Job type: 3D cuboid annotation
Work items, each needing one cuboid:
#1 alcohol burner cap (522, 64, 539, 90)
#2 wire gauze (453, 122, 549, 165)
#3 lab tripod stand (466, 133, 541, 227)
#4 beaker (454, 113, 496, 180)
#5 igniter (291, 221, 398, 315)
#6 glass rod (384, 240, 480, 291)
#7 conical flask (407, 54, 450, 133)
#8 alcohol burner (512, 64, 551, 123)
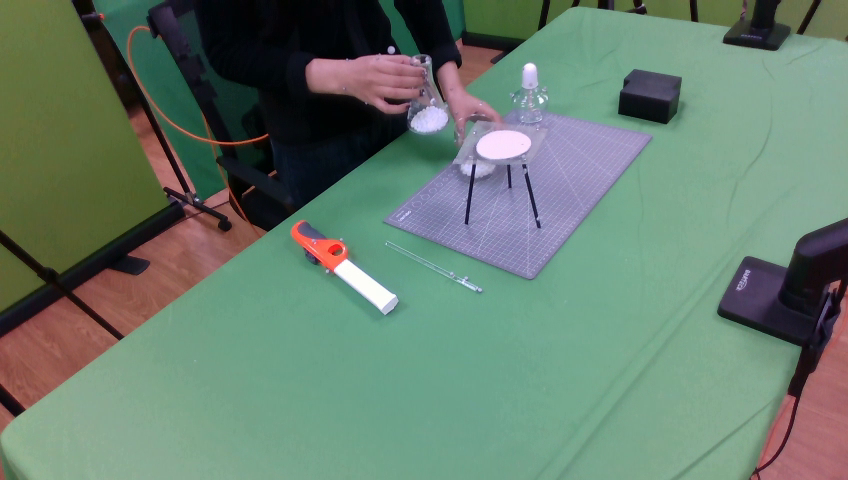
[{"bbox_3d":[0.210,-0.325,1.195,0.034,0.048,0.033,-6,45,7],"label":"alcohol burner cap"},{"bbox_3d":[0.122,-0.150,0.942,0.121,0.011,0.125,8,42,21],"label":"wire gauze"},{"bbox_3d":[0.129,-0.099,0.985,0.148,0.132,0.147,-6,38,6],"label":"lab tripod stand"},{"bbox_3d":[0.093,-0.166,1.098,0.073,0.101,0.084,16,47,28],"label":"beaker"},{"bbox_3d":[-0.136,0.037,0.962,0.057,0.025,0.274,-41,48,-18],"label":"igniter"},{"bbox_3d":[0.009,0.037,0.949,0.198,0.008,0.008,26,52,34],"label":"glass rod"},{"bbox_3d":[0.002,-0.246,1.010,0.075,0.122,0.075,-5,42,5],"label":"conical flask"},{"bbox_3d":[0.215,-0.298,1.220,0.078,0.120,0.077,-7,40,7],"label":"alcohol burner"}]
